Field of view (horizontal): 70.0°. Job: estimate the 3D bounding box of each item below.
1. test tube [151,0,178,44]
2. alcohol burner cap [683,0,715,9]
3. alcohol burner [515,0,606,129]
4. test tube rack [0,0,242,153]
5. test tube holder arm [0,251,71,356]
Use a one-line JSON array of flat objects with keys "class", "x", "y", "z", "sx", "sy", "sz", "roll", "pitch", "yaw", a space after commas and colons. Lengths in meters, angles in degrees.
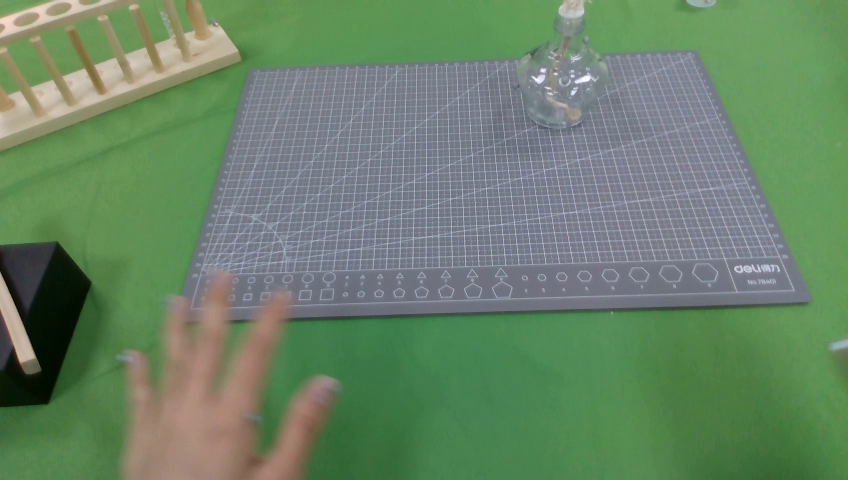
[{"class": "test tube", "x": -0.263, "y": -0.255, "z": 0.575, "sx": 0.017, "sy": 0.152, "sz": 0.017, "roll": -3, "pitch": 49, "yaw": 4}, {"class": "alcohol burner cap", "x": 0.301, "y": -0.276, "z": 0.649, "sx": 0.034, "sy": 0.048, "sz": 0.033, "roll": -3, "pitch": 52, "yaw": 4}, {"class": "alcohol burner", "x": 0.118, "y": -0.155, "z": 0.514, "sx": 0.078, "sy": 0.120, "sz": 0.077, "roll": -1, "pitch": 50, "yaw": 2}, {"class": "test tube rack", "x": -0.312, "y": -0.179, "z": 0.581, "sx": 0.242, "sy": 0.086, "sz": 0.066, "roll": -27, "pitch": 55, "yaw": -17}, {"class": "test tube holder arm", "x": -0.281, "y": 0.020, "z": 0.403, "sx": 0.177, "sy": 0.015, "sz": 0.013, "roll": 34, "pitch": 63, "yaw": 27}]
